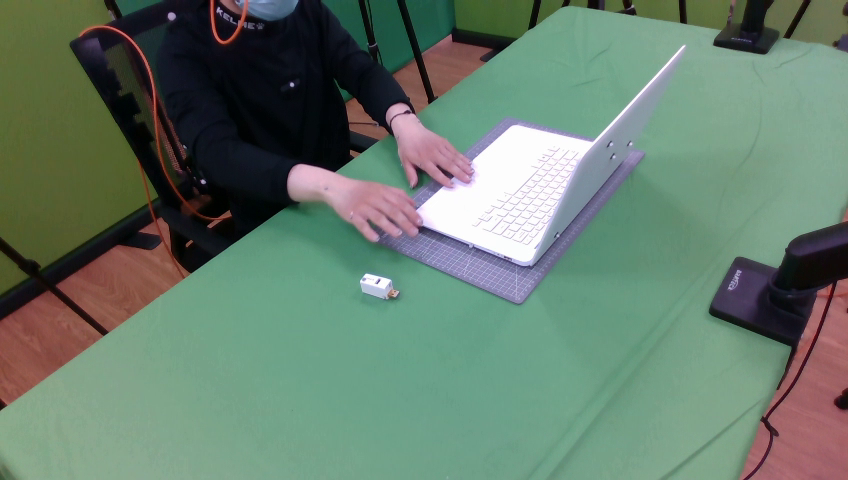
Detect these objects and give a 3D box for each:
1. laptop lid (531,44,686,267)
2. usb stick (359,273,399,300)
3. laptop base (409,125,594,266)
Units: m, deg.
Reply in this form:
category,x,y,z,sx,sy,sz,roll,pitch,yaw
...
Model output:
category,x,y,z,sx,sy,sz,roll,pitch,yaw
laptop lid,0.279,-0.128,0.906,0.013,0.242,0.357,34,52,17
usb stick,-0.065,0.070,0.892,0.059,0.027,0.021,16,44,21
laptop base,0.168,-0.093,1.055,0.233,0.023,0.355,20,47,32
